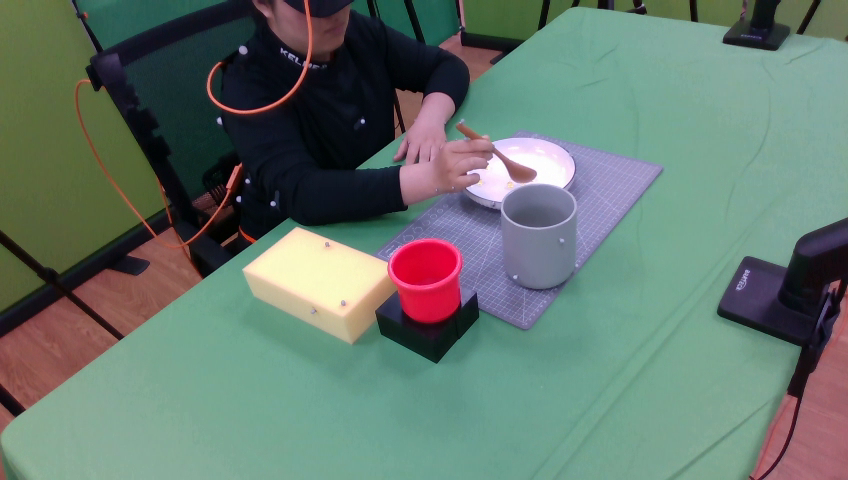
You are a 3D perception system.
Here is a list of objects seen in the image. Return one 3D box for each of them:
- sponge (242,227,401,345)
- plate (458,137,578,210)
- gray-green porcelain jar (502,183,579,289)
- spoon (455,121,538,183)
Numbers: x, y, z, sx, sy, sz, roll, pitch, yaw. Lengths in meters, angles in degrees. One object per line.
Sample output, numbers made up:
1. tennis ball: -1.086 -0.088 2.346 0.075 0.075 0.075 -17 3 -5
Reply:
1. sponge: -0.154 0.063 0.907 0.205 0.061 0.118 19 48 29
2. plate: 0.166 -0.113 1.068 0.207 0.039 0.206 -5 40 5
3. gray-green porcelain jar: 0.167 -0.001 0.866 0.106 0.127 0.105 -5 40 5
4. spoon: 0.114 -0.136 0.949 0.041 0.195 0.021 -28 46 37
